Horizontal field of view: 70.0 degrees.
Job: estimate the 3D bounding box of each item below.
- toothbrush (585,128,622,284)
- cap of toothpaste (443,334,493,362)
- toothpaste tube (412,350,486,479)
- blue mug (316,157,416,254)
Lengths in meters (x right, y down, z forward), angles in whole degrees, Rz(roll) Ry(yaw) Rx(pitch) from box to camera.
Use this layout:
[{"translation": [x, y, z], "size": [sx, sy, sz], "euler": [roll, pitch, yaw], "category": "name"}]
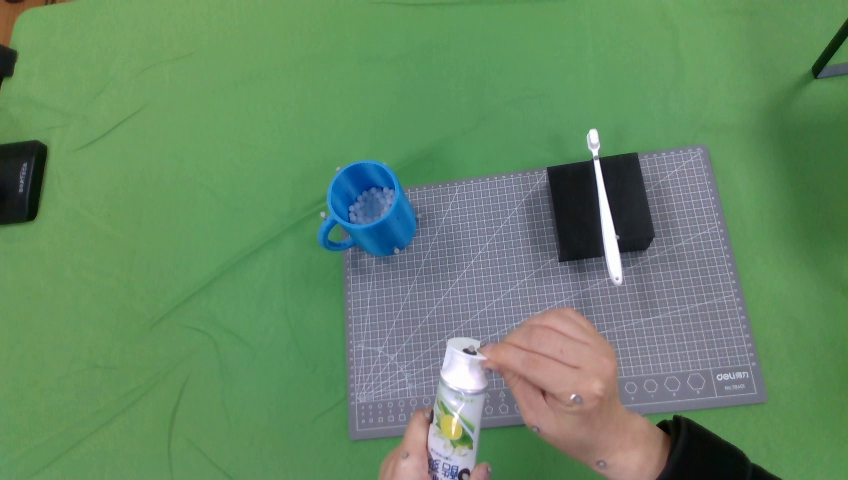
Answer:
[{"translation": [0.196, -0.041, 0.659], "size": [0.014, 0.017, 0.180], "euler": [-5, 73, 2], "category": "toothbrush"}, {"translation": [0.031, 0.077, 0.431], "size": [0.037, 0.037, 0.011], "euler": [9, 100, 13], "category": "cap of toothpaste"}, {"translation": [0.017, 0.153, 0.452], "size": [0.054, 0.034, 0.165], "euler": [18, 106, 31], "category": "toothpaste tube"}, {"translation": [-0.072, -0.028, 0.705], "size": [0.116, 0.106, 0.082], "euler": [-34, 70, -1], "category": "blue mug"}]
